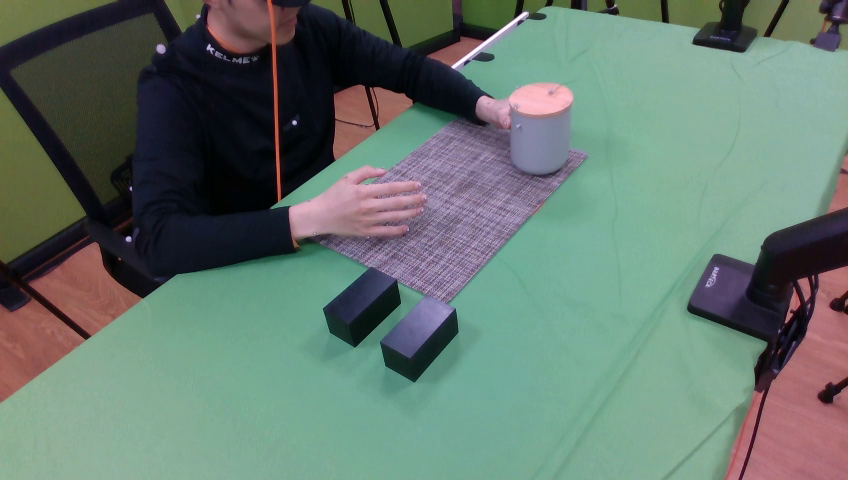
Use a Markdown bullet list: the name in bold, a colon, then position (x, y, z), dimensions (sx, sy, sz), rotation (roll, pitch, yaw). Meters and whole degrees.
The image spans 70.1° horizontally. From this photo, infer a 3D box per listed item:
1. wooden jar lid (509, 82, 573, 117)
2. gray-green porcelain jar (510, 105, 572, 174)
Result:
- **wooden jar lid**: position (0.200, -0.236, 1.033), dimensions (0.108, 0.021, 0.108), rotation (-6, 42, 6)
- **gray-green porcelain jar**: position (0.206, -0.190, 1.073), dimensions (0.106, 0.127, 0.105), rotation (-4, 42, 4)
